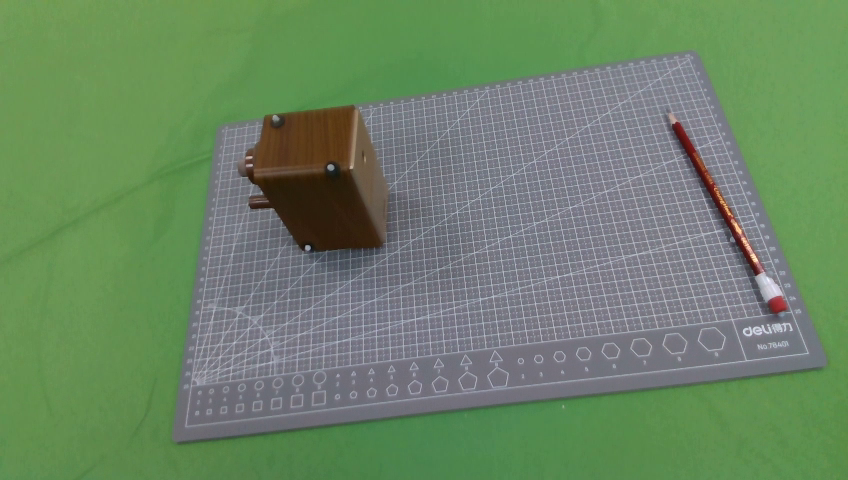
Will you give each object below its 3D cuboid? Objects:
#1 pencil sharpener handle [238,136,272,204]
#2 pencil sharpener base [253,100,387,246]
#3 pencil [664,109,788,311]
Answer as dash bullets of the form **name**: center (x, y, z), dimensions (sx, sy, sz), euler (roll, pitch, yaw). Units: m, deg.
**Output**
- **pencil sharpener handle**: center (-0.129, -0.048, 0.458), dimensions (0.030, 0.068, 0.035), euler (-4, 58, 8)
- **pencil sharpener base**: center (-0.076, -0.046, 0.462), dimensions (0.076, 0.108, 0.061), euler (-4, 60, 8)
- **pencil**: center (0.223, -0.032, 0.460), dimensions (0.012, 0.012, 0.192), euler (-15, 57, 2)
